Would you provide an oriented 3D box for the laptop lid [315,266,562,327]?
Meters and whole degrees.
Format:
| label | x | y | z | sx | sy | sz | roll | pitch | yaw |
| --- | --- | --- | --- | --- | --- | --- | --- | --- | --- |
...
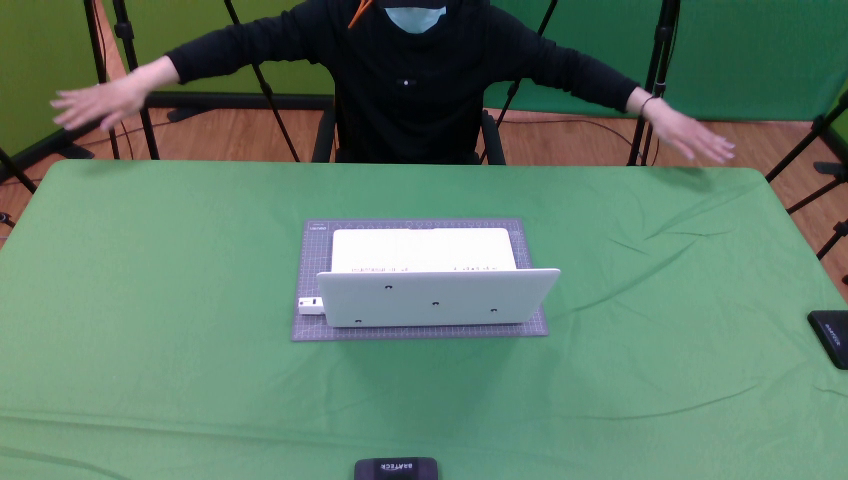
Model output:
| label | x | y | z | sx | sy | sz | roll | pitch | yaw |
| --- | --- | --- | --- | --- | --- | --- | --- | --- | --- |
| laptop lid | 0.018 | 0.094 | 0.949 | 0.357 | 0.242 | 0.013 | 0 | 64 | -6 |

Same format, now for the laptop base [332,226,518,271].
| label | x | y | z | sx | sy | sz | roll | pitch | yaw |
| --- | --- | --- | --- | --- | --- | --- | --- | --- | --- |
| laptop base | 0.004 | 0.062 | 1.136 | 0.355 | 0.023 | 0.234 | -1 | 43 | -4 |

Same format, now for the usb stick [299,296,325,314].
| label | x | y | z | sx | sy | sz | roll | pitch | yaw |
| --- | --- | --- | --- | --- | --- | --- | --- | --- | --- |
| usb stick | -0.187 | 0.114 | 1.058 | 0.059 | 0.027 | 0.021 | 2 | 45 | -4 |
